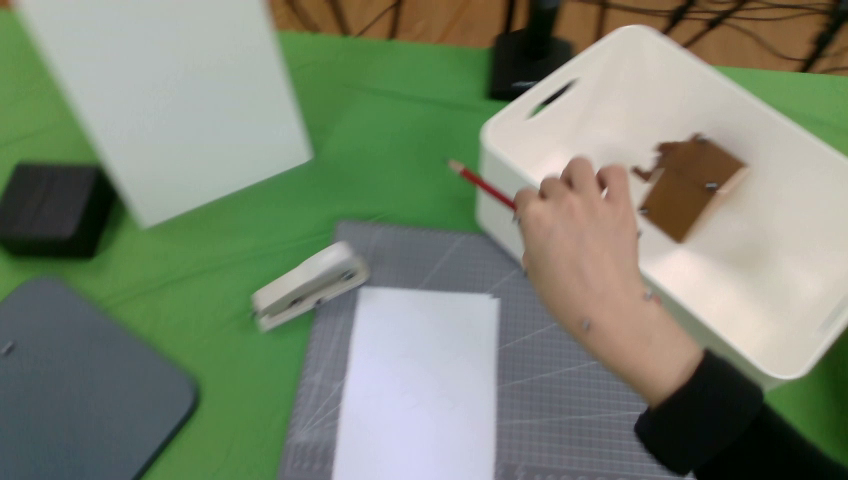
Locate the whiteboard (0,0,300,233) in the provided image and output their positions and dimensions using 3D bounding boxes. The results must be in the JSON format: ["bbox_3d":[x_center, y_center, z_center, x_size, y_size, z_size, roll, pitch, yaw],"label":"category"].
[{"bbox_3d":[-0.308,-0.202,0.697,0.217,0.308,0.142,-26,44,-14],"label":"whiteboard"}]

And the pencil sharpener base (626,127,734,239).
[{"bbox_3d":[0.290,-0.065,0.700,0.061,0.108,0.076,-40,67,-23],"label":"pencil sharpener base"}]

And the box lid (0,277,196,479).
[{"bbox_3d":[-0.434,0.227,0.583,0.262,0.015,0.370,29,63,15],"label":"box lid"}]

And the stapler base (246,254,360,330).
[{"bbox_3d":[-0.136,0.052,0.679,0.130,0.024,0.041,-27,60,-12],"label":"stapler base"}]

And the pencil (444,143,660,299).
[{"bbox_3d":[0.093,-0.016,0.450,0.194,0.012,0.012,36,64,1],"label":"pencil"}]

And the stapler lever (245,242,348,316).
[{"bbox_3d":[-0.139,0.040,0.657,0.118,0.040,0.026,-27,60,-12],"label":"stapler lever"}]

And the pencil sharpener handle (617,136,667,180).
[{"bbox_3d":[0.251,-0.101,0.706,0.030,0.068,0.036,41,53,21],"label":"pencil sharpener handle"}]

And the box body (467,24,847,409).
[{"bbox_3d":[0.249,-0.031,0.654,0.254,0.161,0.361,-40,68,-21],"label":"box body"}]
